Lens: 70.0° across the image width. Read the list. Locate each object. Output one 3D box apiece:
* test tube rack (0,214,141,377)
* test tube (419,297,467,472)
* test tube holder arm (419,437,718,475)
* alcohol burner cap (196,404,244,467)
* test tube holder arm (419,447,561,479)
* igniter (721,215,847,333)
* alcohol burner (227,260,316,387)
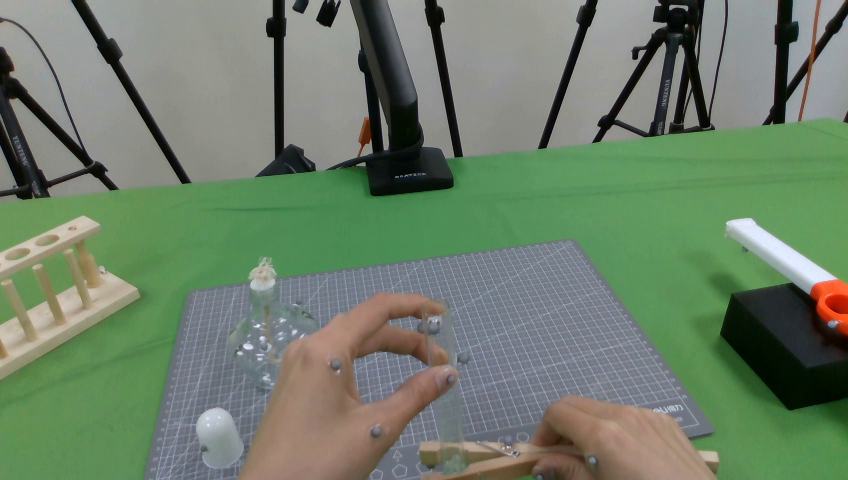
[{"bbox_3d":[-0.409,0.071,0.577,0.066,0.086,0.242,20,39,30],"label":"test tube rack"},{"bbox_3d":[0.014,0.095,0.351,0.017,0.151,0.017,-5,32,4],"label":"test tube"},{"bbox_3d":[0.085,0.133,0.373,0.178,0.015,0.013,-1,34,9],"label":"test tube holder arm"},{"bbox_3d":[-0.163,0.151,0.476,0.034,0.048,0.033,-1,33,1],"label":"alcohol burner cap"},{"bbox_3d":[0.041,0.139,0.371,0.088,0.015,0.010,-11,32,-7],"label":"test tube holder arm"},{"bbox_3d":[0.361,0.046,0.538,0.057,0.025,0.273,-9,30,-8],"label":"igniter"},{"bbox_3d":[-0.136,0.070,0.533,0.078,0.120,0.077,-1,31,1],"label":"alcohol burner"}]
